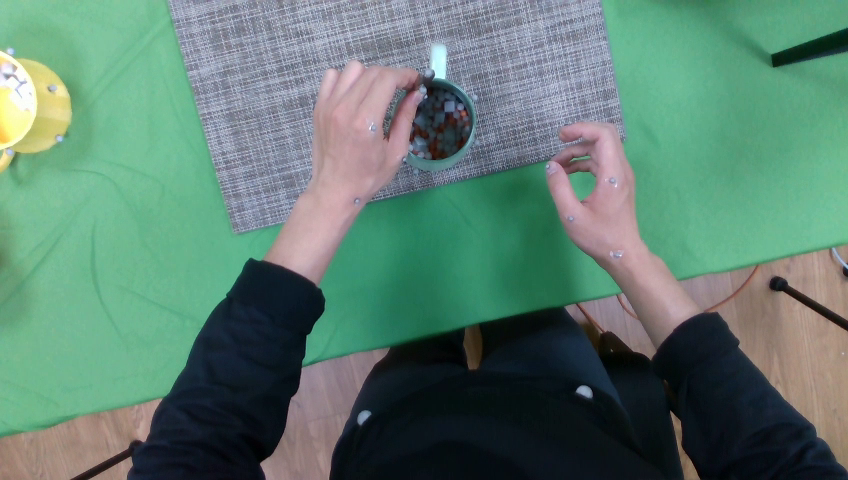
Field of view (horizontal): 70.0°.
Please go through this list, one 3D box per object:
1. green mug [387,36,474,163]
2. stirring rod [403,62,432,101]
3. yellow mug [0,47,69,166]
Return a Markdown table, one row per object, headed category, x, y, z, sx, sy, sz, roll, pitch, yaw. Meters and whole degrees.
| category | x | y | z | sx | sy | sz | roll | pitch | yaw |
| --- | --- | --- | --- | --- | --- | --- | --- | --- | --- |
| green mug | 0.008 | -0.142 | 0.614 | 0.092 | 0.104 | 0.125 | 3 | 97 | -2 |
| stirring rod | -0.008 | -0.142 | 0.551 | 0.014 | 0.175 | 0.006 | -23 | 97 | -2 |
| yellow mug | -0.437 | -0.132 | 0.622 | 0.100 | 0.064 | 0.131 | 19 | 97 | -5 |
